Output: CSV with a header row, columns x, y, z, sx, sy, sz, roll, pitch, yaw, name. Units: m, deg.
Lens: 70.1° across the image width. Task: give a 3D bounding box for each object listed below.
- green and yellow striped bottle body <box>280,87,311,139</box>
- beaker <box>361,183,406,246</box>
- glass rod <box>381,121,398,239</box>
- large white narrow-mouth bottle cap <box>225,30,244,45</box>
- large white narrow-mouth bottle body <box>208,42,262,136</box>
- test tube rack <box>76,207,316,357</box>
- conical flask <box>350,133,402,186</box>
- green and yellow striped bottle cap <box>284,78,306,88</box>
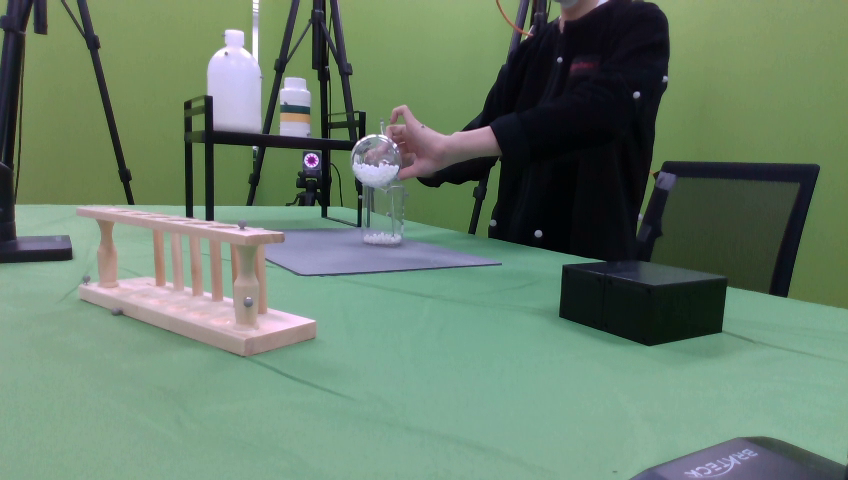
x,y,z,sx,sy,sz,roll,pitch,yaw,name
-0.269,-0.274,1.266,0.063,0.119,0.063,3,7,0,green and yellow striped bottle body
-0.067,-0.042,0.993,0.074,0.100,0.084,1,8,-8,beaker
-0.059,-0.100,1.001,0.008,0.199,0.008,-7,-4,0,glass rod
-0.365,-0.390,1.166,0.038,0.024,0.037,2,9,0,large white narrow-mouth bottle cap
-0.368,-0.304,1.181,0.102,0.194,0.101,2,9,0,large white narrow-mouth bottle body
-0.196,0.023,0.500,0.241,0.085,0.067,8,9,36,test tube rack
-0.063,-0.114,0.909,0.075,0.075,0.122,3,0,5,conical flask
-0.268,-0.325,1.259,0.045,0.020,0.045,5,8,0,green and yellow striped bottle cap
